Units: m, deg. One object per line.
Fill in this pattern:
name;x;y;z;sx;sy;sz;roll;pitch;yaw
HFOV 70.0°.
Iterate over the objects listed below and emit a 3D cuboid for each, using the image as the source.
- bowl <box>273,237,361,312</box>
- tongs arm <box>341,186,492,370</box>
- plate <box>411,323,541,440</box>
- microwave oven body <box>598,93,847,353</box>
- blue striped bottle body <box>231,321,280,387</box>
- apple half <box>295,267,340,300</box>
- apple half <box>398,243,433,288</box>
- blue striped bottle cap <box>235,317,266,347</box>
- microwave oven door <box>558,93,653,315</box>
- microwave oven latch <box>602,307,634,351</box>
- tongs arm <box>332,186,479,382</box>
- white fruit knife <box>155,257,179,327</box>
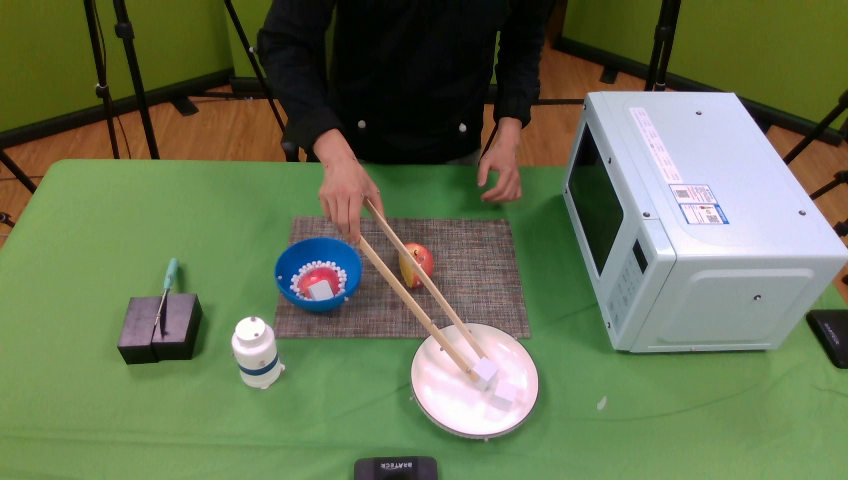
bowl;-0.186;0.074;1.070;0.151;0.077;0.150;3;46;-3
tongs arm;-0.013;0.059;1.008;0.028;0.028;0.386;-34;82;-27
plate;0.082;0.228;0.976;0.208;0.039;0.206;2;46;-2
microwave oven body;0.476;-0.041;1.110;0.326;0.261;0.438;-1;45;-4
blue striped bottle body;-0.262;0.171;0.944;0.063;0.121;0.062;2;46;-2
apple half;-0.187;0.071;1.066;0.081;0.033;0.081;2;46;-2
apple half;-0.012;0.046;1.115;0.053;0.075;0.080;-11;44;-19
blue striped bottle cap;-0.260;0.137;0.907;0.044;0.021;0.044;3;43;-2
microwave oven door;0.327;-0.074;1.123;0.039;0.245;0.353;0;46;-5
microwave oven latch;0.332;0.153;1.044;0.030;0.029;0.078;-1;45;-4
tongs arm;-0.030;0.070;0.995;0.051;0.026;0.384;-38;84;-31
white fruit knife;-0.440;0.085;1.037;0.016;0.027;0.206;10;26;-19
